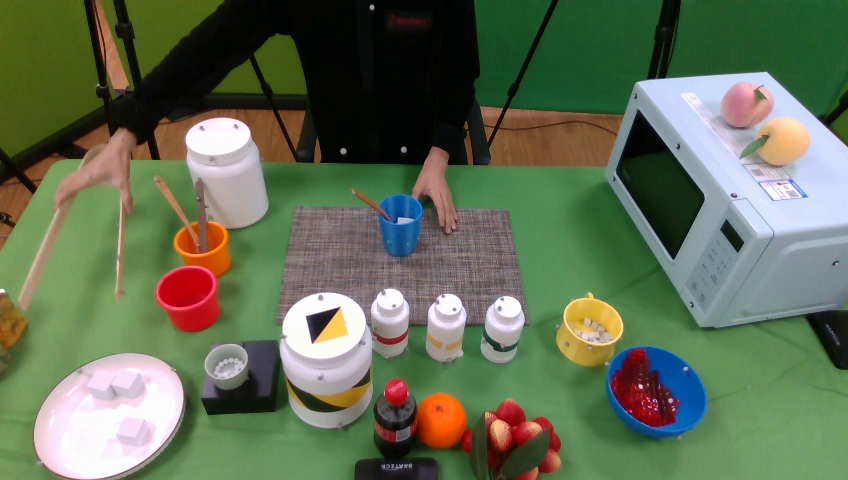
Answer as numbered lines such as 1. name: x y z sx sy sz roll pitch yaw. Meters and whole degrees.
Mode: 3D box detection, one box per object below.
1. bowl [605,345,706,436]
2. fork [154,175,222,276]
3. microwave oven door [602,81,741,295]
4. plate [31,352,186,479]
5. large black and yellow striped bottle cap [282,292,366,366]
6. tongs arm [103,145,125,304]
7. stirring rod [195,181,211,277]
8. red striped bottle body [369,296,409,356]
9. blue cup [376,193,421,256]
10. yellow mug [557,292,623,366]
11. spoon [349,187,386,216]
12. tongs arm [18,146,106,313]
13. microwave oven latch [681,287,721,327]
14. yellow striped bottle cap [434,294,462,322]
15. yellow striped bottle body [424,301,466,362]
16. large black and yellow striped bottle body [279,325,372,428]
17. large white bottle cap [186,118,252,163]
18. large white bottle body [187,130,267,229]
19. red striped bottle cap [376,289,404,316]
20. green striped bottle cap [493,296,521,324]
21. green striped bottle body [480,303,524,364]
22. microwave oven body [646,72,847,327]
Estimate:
1. bowl: 0.351 0.247 0.950 0.151 0.077 0.150 2 46 -2
2. fork: -0.431 -0.026 1.101 0.028 0.018 0.207 -33 100 -24
3. microwave oven door: 0.456 -0.107 1.162 0.039 0.245 0.353 -6 47 -11
4. plate: -0.459 0.262 0.898 0.209 0.038 0.208 2 46 -2
5. large black and yellow striped bottle cap: -0.138 0.121 0.841 0.115 0.019 0.114 3 47 -3
6. tongs arm: -0.546 -0.041 1.056 0.051 0.026 0.382 -8 48 -14
7. stirring rod: -0.402 -0.020 1.103 0.014 0.006 0.176 -6 89 -9
8. red striped bottle body: -0.059 0.134 0.997 0.063 0.120 0.062 5 47 -5
9. blue cup: -0.048 -0.024 1.156 0.092 0.101 0.092 1 49 -1
10. yellow mug: 0.285 0.145 1.051 0.100 0.064 0.130 7 46 4
11. spoon: -0.080 -0.045 1.122 0.021 0.195 0.041 -24 50 15
12. tongs arm: -0.617 -0.036 1.040 0.028 0.028 0.385 -2 46 -4
13. microwave oven latch: 0.494 0.119 1.087 0.030 0.029 0.078 -5 46 -9
14. yellow striped bottle cap: 0.038 0.107 0.958 0.044 0.019 0.044 2 45 -1
15. yellow striped bottle body: 0.035 0.143 0.995 0.063 0.121 0.062 3 46 -3
16. large black and yellow striped bottle body: -0.143 0.181 0.900 0.131 0.185 0.130 2 46 -2
17. large white bottle cap: -0.377 -0.185 1.115 0.115 0.018 0.114 2 47 -2
18. large white bottle body: -0.382 -0.127 1.176 0.131 0.185 0.130 2 46 -2
19. red striped bottle cap: -0.055 0.098 0.958 0.044 0.018 0.044 0 47 1
20. green striped bottle cap: 0.133 0.111 0.962 0.044 0.020 0.044 2 47 -2
21. green striped bottle body: 0.129 0.147 1.000 0.063 0.120 0.063 2 46 -2
22. microwave oven body: 0.607 -0.089 1.164 0.326 0.261 0.438 -7 46 -10
